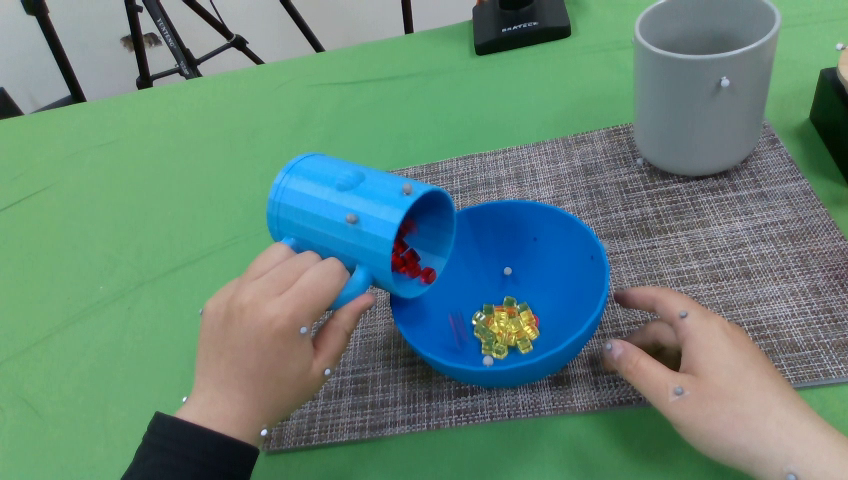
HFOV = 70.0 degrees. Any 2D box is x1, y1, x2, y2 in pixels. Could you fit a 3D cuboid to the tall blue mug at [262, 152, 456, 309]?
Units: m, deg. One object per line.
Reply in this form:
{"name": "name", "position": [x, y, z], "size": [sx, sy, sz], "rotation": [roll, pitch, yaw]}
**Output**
{"name": "tall blue mug", "position": [-0.050, 0.001, 0.415], "size": [0.107, 0.078, 0.107], "rotation": [19, 79, 30]}

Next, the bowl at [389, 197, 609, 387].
{"name": "bowl", "position": [0.057, 0.048, 0.435], "size": [0.151, 0.077, 0.150], "rotation": [-9, 45, 10]}

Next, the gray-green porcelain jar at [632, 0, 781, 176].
{"name": "gray-green porcelain jar", "position": [0.231, -0.127, 0.512], "size": [0.106, 0.128, 0.105], "rotation": [-9, 45, 10]}

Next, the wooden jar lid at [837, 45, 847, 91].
{"name": "wooden jar lid", "position": [0.385, -0.130, 0.474], "size": [0.108, 0.021, 0.107], "rotation": [-10, 45, 10]}
